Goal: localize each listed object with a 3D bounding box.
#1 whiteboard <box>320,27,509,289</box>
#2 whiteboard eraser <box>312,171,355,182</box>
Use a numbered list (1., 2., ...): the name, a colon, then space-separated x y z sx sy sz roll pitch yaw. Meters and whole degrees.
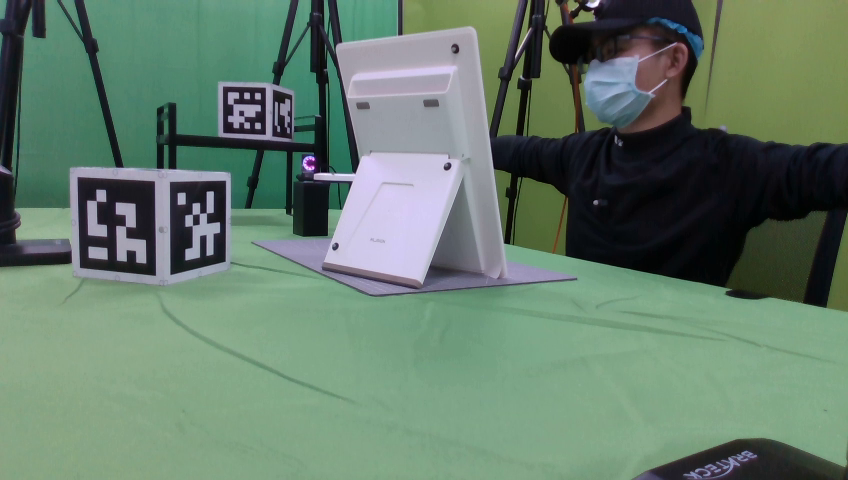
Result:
1. whiteboard: -0.045 -0.076 0.721 0.216 0.305 0.144 9 29 39
2. whiteboard eraser: -0.164 -0.122 1.163 0.102 0.019 0.041 0 7 -28
